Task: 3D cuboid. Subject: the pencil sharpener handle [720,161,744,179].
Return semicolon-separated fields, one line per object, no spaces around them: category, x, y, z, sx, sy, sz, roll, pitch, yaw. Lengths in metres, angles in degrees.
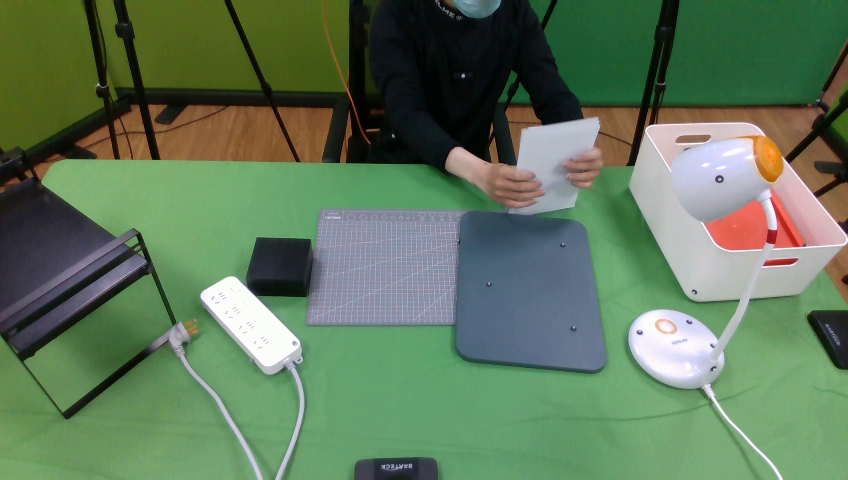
pencil sharpener handle;0.667;-0.147;1.299;0.031;0.068;0.036;-8;80;-12

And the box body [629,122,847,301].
box body;0.593;-0.062;1.202;0.254;0.161;0.361;-3;47;-7

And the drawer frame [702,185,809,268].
drawer frame;0.584;-0.023;1.160;0.202;0.083;0.212;-12;56;3

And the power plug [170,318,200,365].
power plug;-0.392;0.167;1.013;0.052;0.035;0.072;-31;89;-23

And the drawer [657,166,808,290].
drawer;0.582;-0.025;1.163;0.194;0.073;0.210;-12;56;3

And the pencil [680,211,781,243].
pencil;0.598;-0.028;1.185;0.194;0.012;0.012;18;48;10

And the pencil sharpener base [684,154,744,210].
pencil sharpener base;0.619;-0.124;1.293;0.077;0.107;0.061;-8;47;-12

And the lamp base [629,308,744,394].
lamp base;0.446;0.139;0.987;0.161;0.181;0.178;-19;53;-20

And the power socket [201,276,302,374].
power socket;-0.297;0.141;1.034;0.072;0.033;0.225;-34;58;-30

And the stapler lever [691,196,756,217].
stapler lever;0.586;-0.066;1.184;0.118;0.040;0.026;2;59;12

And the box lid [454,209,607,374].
box lid;0.194;0.080;1.142;0.263;0.015;0.369;6;47;0

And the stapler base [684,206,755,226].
stapler base;0.588;-0.052;1.204;0.130;0.024;0.041;2;59;11

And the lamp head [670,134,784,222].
lamp head;0.422;-0.089;0.829;0.113;0.123;0.112;8;74;-32
